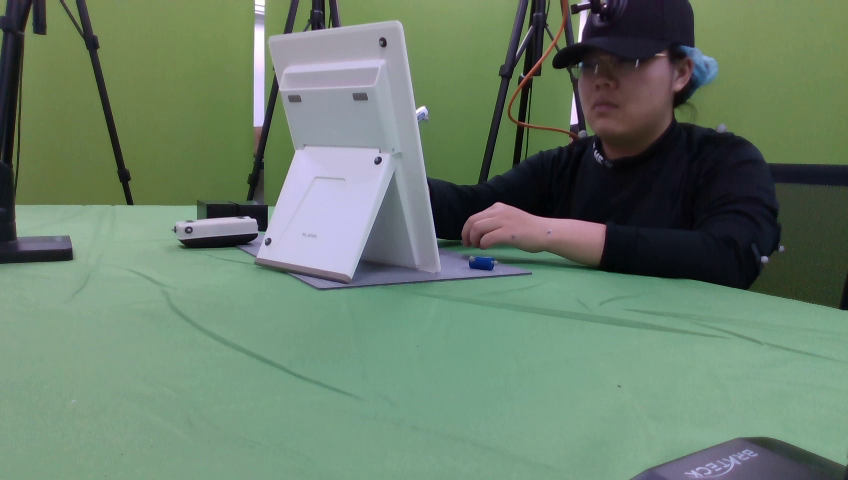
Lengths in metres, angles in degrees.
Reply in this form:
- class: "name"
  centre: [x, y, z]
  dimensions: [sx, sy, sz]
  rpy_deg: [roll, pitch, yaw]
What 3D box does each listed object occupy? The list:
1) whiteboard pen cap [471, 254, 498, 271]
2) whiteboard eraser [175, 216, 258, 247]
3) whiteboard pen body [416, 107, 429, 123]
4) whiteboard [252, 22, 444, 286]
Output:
- class: "whiteboard pen cap"
  centre: [0.080, 0.031, 0.799]
  dimensions: [0.033, 0.018, 0.018]
  rpy_deg: [19, 2, -17]
- class: "whiteboard eraser"
  centre: [-0.314, -0.012, 0.914]
  dimensions: [0.113, 0.042, 0.055]
  rpy_deg: [-5, 12, -30]
- class: "whiteboard pen body"
  centre: [-0.027, -0.147, 0.787]
  dimensions: [0.017, 0.017, 0.141]
  rpy_deg: [6, 30, 23]
- class: "whiteboard"
  centre: [-0.125, -0.081, 0.714]
  dimensions: [0.216, 0.305, 0.144]
  rpy_deg: [9, 29, 36]
